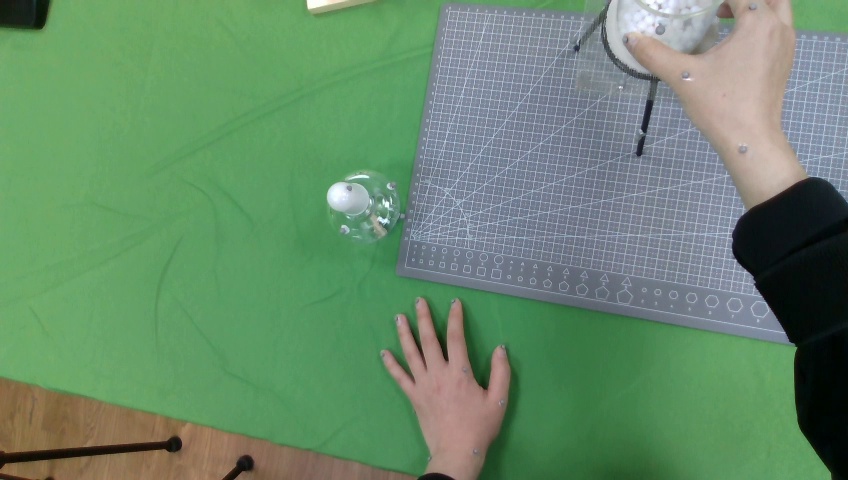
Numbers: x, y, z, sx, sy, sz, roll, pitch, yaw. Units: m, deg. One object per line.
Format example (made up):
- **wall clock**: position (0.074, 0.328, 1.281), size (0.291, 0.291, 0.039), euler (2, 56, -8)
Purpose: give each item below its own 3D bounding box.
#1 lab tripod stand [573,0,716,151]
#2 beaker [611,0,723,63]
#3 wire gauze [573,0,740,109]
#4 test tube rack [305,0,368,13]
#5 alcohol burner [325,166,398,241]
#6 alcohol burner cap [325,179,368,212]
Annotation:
- **lab tripod stand**: position (0.201, -0.166, 0.546), size (0.148, 0.132, 0.148), euler (-1, 87, 11)
- **beaker**: position (0.172, -0.177, 0.436), size (0.083, 0.100, 0.074), euler (23, 91, 13)
- **wire gauze**: position (0.187, -0.172, 0.482), size (0.125, 0.011, 0.121), euler (9, 91, 10)
- **test tube rack**: position (-0.025, -0.311, 0.631), size (0.242, 0.085, 0.066), euler (-8, 84, 11)
- **alcohol burner**: position (-0.068, -0.040, 0.607), size (0.078, 0.119, 0.077), euler (-1, 84, 11)
- **alcohol burner cap**: position (-0.076, -0.043, 0.572), size (0.034, 0.048, 0.034), euler (0, 89, 12)
